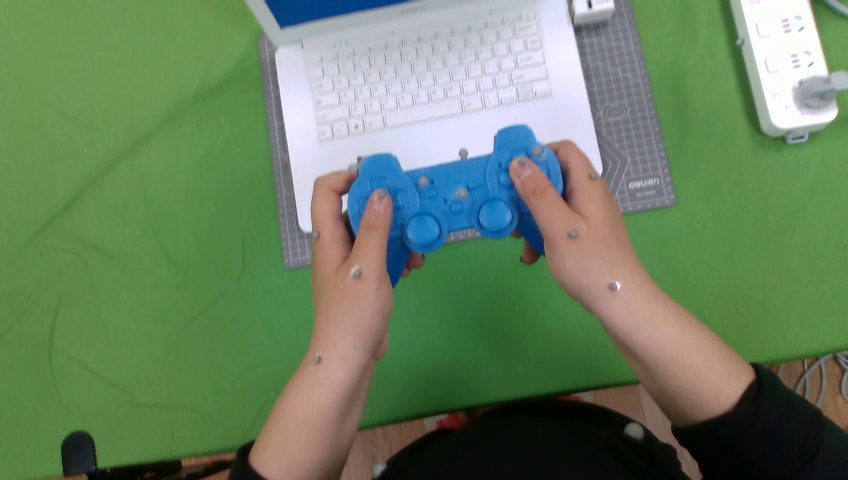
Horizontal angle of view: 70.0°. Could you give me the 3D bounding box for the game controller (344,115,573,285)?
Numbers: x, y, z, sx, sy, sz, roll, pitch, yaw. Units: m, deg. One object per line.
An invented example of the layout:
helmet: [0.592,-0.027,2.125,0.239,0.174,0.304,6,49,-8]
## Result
game controller: [0.021,-0.026,0.413,0.155,0.051,0.097,-11,95,3]

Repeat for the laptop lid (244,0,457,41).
laptop lid: [-0.030,-0.307,0.612,0.356,0.243,0.013,-11,72,6]

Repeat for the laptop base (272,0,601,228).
laptop base: [0.007,-0.158,0.707,0.354,0.023,0.235,-11,84,5]

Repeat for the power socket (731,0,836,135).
power socket: [0.389,-0.229,0.667,0.072,0.033,0.226,-9,81,6]

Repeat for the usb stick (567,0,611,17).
usb stick: [0.181,-0.273,0.691,0.059,0.027,0.021,-10,81,9]

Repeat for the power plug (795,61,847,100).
power plug: [0.427,-0.164,0.633,0.072,0.053,0.035,4,81,4]
